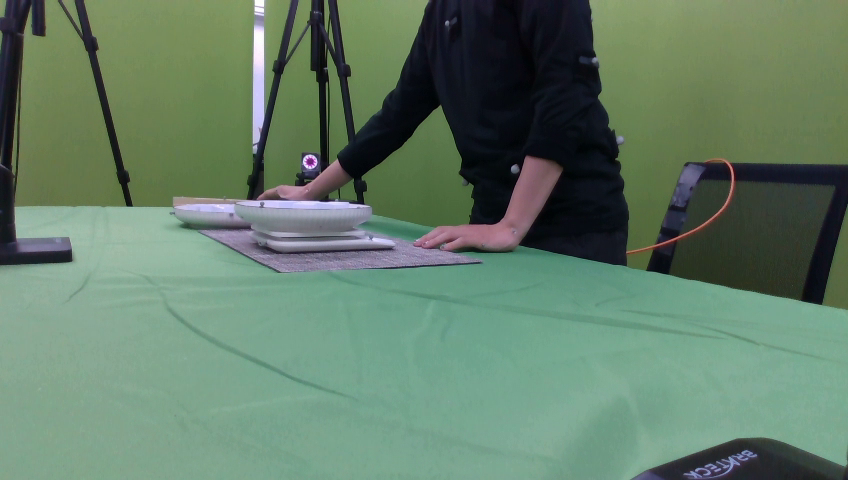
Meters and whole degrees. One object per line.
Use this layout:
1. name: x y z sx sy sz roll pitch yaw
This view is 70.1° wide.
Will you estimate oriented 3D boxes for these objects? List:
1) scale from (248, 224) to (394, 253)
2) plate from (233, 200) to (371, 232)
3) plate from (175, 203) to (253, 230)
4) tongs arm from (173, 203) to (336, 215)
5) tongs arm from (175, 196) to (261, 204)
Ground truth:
1. scale: -0.162 -0.006 0.954 0.202 0.031 0.148 -2 8 -32
2. plate: -0.188 -0.039 0.939 0.209 0.038 0.209 2 7 0
3. plate: -0.381 -0.047 1.199 0.208 0.039 0.207 3 7 0
4. tongs arm: -0.387 -0.073 1.436 0.390 0.028 0.028 -1 6 -30
5. tongs arm: -0.415 -0.087 1.506 0.386 0.026 0.050 1 8 -18
